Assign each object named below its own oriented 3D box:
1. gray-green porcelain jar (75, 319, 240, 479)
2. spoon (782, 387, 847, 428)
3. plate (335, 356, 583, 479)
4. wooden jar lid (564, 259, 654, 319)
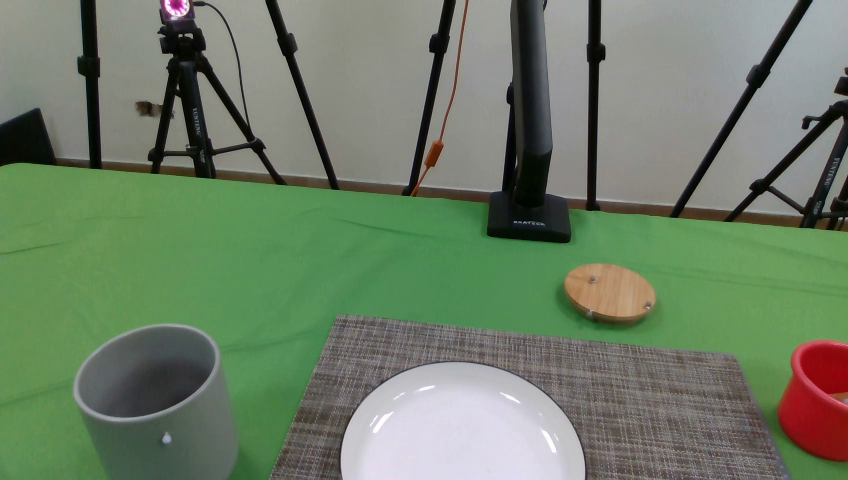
[{"bbox_3d":[-0.211,0.146,0.498,0.106,0.127,0.105,2,34,-1],"label":"gray-green porcelain jar"},{"bbox_3d":[0.424,0.126,0.545,0.194,0.022,0.041,-35,21,28],"label":"spoon"},{"bbox_3d":[0.029,0.186,0.523,0.208,0.039,0.205,2,34,-1],"label":"plate"},{"bbox_3d":[0.226,0.061,0.746,0.108,0.021,0.107,2,35,-1],"label":"wooden jar lid"}]
